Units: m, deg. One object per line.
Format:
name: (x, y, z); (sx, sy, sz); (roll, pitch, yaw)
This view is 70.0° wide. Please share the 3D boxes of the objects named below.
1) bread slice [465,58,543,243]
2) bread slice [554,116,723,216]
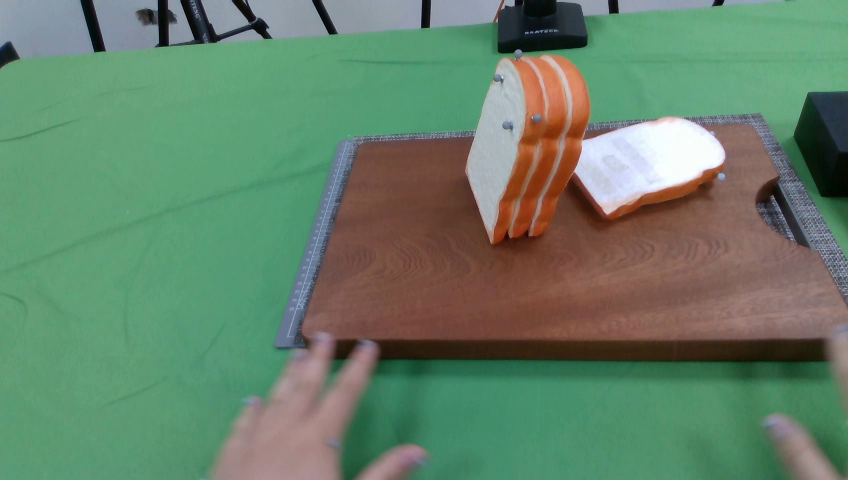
bread slice: (0.066, -0.082, 0.512); (0.018, 0.135, 0.106); (0, 40, -14)
bread slice: (0.199, -0.072, 0.551); (0.131, 0.019, 0.103); (-18, 42, -3)
